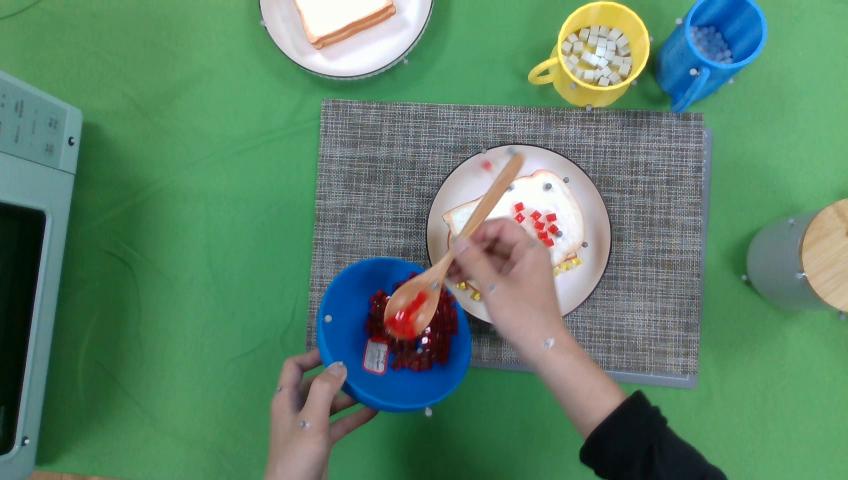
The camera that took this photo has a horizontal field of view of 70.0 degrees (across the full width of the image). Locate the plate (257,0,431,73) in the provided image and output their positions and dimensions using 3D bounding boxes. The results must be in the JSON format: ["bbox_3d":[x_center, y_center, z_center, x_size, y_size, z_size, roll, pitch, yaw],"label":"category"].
[{"bbox_3d":[-0.092,-0.297,0.720,0.207,0.039,0.207,0,86,3],"label":"plate"}]

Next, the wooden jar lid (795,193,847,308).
[{"bbox_3d":[0.400,0.010,0.567,0.108,0.021,0.108,0,89,1],"label":"wooden jar lid"}]

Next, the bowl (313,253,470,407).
[{"bbox_3d":[-0.040,0.095,0.579,0.152,0.077,0.150,15,53,-20],"label":"bowl"}]

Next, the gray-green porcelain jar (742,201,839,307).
[{"bbox_3d":[0.404,0.016,0.629,0.106,0.127,0.105,0,86,3],"label":"gray-green porcelain jar"}]

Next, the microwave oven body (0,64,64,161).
[{"bbox_3d":[-0.598,0.023,0.609,0.326,0.260,0.441,6,87,3],"label":"microwave oven body"}]

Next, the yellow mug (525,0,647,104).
[{"bbox_3d":[0.178,-0.207,0.686,0.131,0.064,0.099,-17,85,3],"label":"yellow mug"}]

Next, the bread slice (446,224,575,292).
[{"bbox_3d":[0.093,-0.001,0.690,0.131,0.019,0.104,-29,84,0],"label":"bread slice"}]

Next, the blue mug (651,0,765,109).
[{"bbox_3d":[0.297,-0.197,0.659,0.082,0.106,0.116,25,88,5],"label":"blue mug"}]

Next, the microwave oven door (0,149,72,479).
[{"bbox_3d":[-0.458,0.080,0.593,0.039,0.244,0.355,5,86,4],"label":"microwave oven door"}]

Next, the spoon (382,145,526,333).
[{"bbox_3d":[0.028,0.000,0.520,0.041,0.021,0.194,37,99,1],"label":"spoon"}]

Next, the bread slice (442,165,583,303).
[{"bbox_3d":[0.097,-0.016,0.628,0.134,0.018,0.107,-32,92,-7],"label":"bread slice"}]

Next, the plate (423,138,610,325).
[{"bbox_3d":[0.103,-0.010,0.687,0.209,0.038,0.208,0,86,3],"label":"plate"}]

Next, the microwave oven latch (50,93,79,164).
[{"bbox_3d":[-0.427,-0.131,0.707,0.030,0.029,0.079,10,87,3],"label":"microwave oven latch"}]
